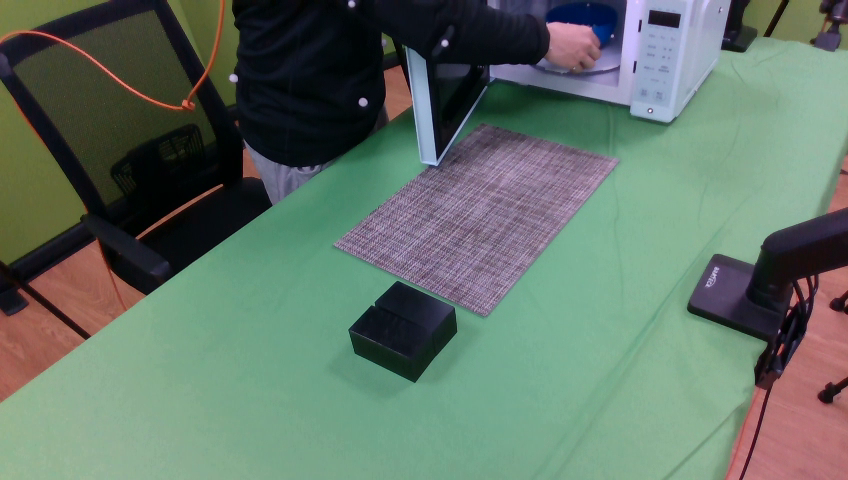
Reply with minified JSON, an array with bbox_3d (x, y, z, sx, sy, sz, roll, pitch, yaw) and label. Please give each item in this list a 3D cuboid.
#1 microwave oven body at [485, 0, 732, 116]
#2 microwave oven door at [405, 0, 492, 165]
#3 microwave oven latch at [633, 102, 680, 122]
[{"bbox_3d":[0.377,-0.463,1.267,0.438,0.261,0.327,21,49,30],"label":"microwave oven body"},{"bbox_3d":[0.059,-0.343,1.165,0.039,0.245,0.355,10,43,20],"label":"microwave oven door"},{"bbox_3d":[0.443,-0.249,1.157,0.078,0.029,0.030,21,49,30],"label":"microwave oven latch"}]
